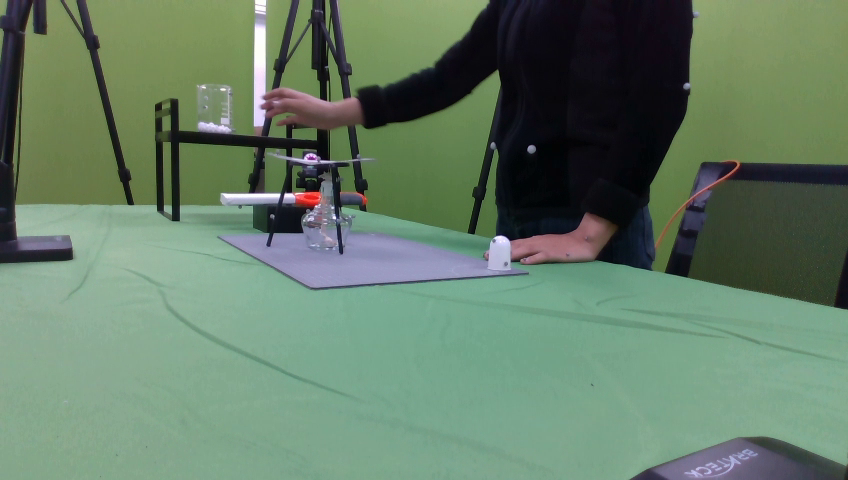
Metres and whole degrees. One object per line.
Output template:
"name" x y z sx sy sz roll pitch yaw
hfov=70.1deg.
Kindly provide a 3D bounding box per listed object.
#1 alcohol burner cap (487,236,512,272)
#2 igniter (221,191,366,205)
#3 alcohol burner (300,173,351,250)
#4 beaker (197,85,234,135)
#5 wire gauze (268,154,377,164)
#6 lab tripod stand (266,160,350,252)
"alcohol burner cap" 0.101 0.019 0.802 0.034 0.048 0.034 2 7 0
"igniter" -0.240 -0.079 1.150 0.278 0.025 0.057 -3 20 -32
"alcohol burner" -0.149 -0.044 0.921 0.078 0.119 0.078 4 7 0
"beaker" -0.444 -0.275 1.283 0.074 0.100 0.084 5 8 22
"wire gauze" -0.154 -0.120 0.910 0.122 0.011 0.124 -5 11 -44
"lab tripod stand" -0.164 -0.054 0.915 0.148 0.131 0.148 2 9 0
